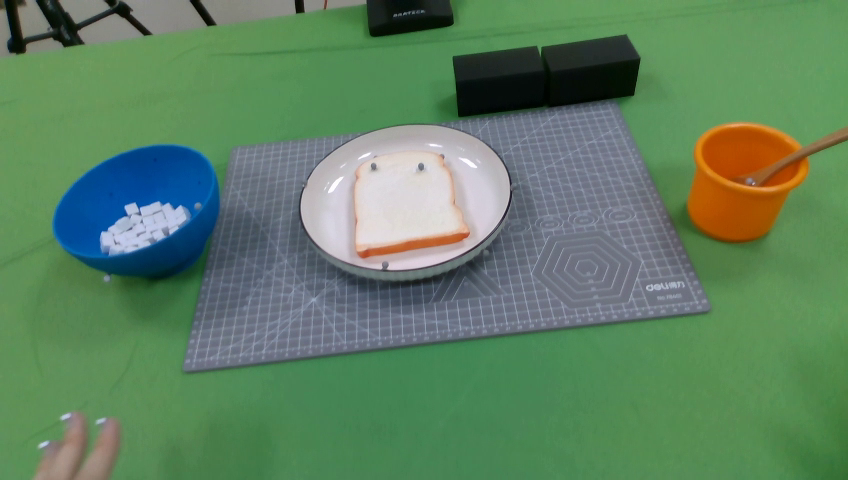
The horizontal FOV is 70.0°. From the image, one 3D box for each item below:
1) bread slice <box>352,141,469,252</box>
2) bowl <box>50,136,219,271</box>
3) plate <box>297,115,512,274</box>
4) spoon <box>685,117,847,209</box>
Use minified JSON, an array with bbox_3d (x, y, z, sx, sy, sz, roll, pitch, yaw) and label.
[{"bbox_3d":[-0.022,-0.047,0.604,0.107,0.018,0.133,-12,51,-3],"label":"bread slice"},{"bbox_3d":[-0.264,-0.023,0.588,0.151,0.077,0.150,-3,49,4],"label":"bowl"},{"bbox_3d":[-0.019,-0.045,0.598,0.209,0.038,0.207,-4,49,5],"label":"plate"},{"bbox_3d":[0.315,-0.075,0.512,0.022,0.193,0.041,32,49,-24],"label":"spoon"}]
